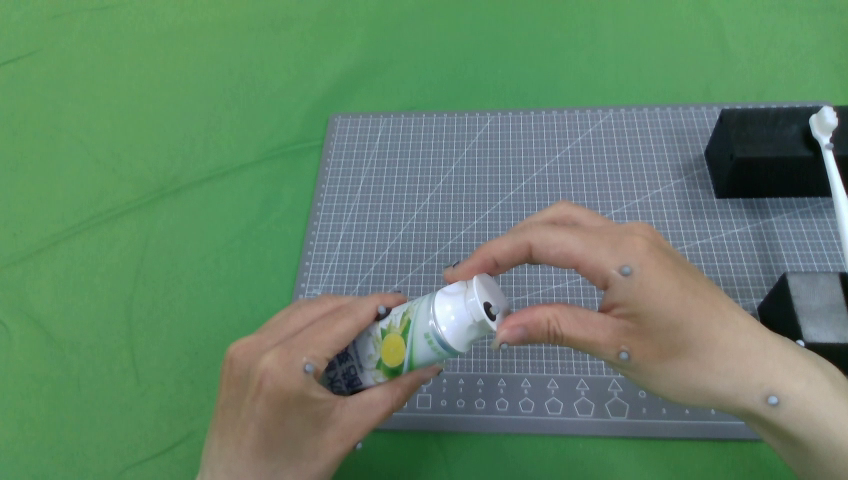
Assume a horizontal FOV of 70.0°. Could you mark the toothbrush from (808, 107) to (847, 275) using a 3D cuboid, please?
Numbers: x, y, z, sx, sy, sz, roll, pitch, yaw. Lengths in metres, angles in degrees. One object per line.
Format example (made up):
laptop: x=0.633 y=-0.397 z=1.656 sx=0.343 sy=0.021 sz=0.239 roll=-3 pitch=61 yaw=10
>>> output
toothbrush: x=0.279 y=-0.019 z=0.400 sx=0.014 sy=0.017 sz=0.180 roll=12 pitch=59 yaw=-4

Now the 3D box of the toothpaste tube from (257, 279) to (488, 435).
toothpaste tube: x=-0.033 y=0.063 z=0.341 sx=0.165 sy=0.035 sz=0.054 roll=-27 pitch=73 yaw=27

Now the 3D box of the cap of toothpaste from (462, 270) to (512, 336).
cap of toothpaste: x=0.031 y=0.033 z=0.303 sx=0.011 sy=0.038 sz=0.037 roll=-31 pitch=52 yaw=24
